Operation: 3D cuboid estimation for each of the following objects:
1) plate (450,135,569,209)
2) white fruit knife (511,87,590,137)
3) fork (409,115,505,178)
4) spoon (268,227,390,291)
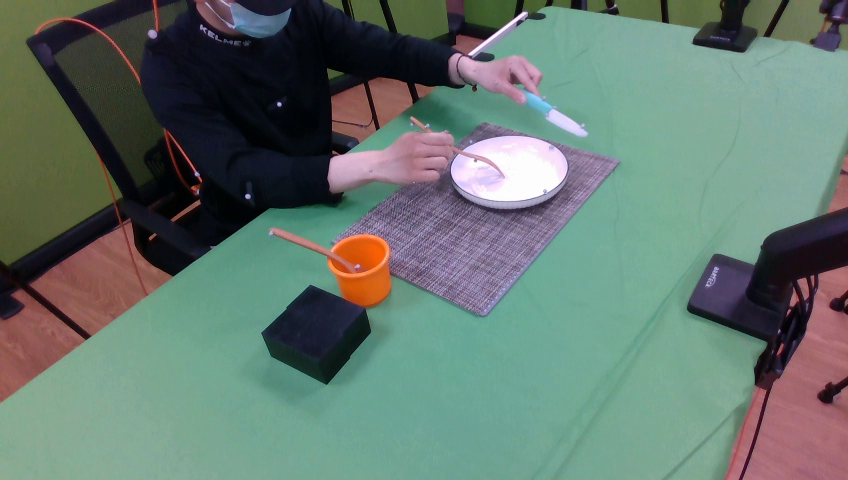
[{"bbox_3d":[0.149,-0.117,1.066,0.209,0.038,0.208,-3,41,3],"label":"plate"},{"bbox_3d":[0.221,-0.227,1.066,0.016,0.027,0.205,-9,37,-32],"label":"white fruit knife"},{"bbox_3d":[0.060,-0.158,1.030,0.209,0.018,0.028,24,21,-25],"label":"fork"},{"bbox_3d":[-0.132,0.025,0.862,0.021,0.195,0.041,-40,31,32],"label":"spoon"}]
